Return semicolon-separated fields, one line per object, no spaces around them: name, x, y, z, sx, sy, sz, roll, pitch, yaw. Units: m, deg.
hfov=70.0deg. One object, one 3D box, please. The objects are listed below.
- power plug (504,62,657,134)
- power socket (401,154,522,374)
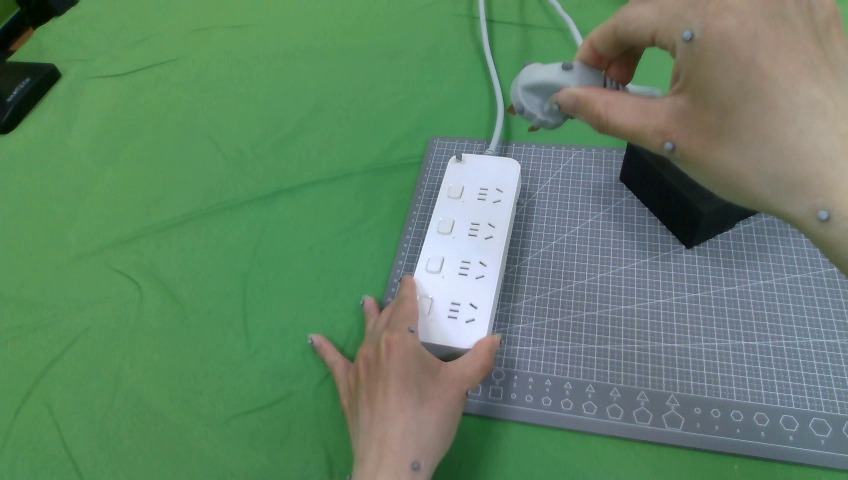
power plug;0.078;-0.066;0.325;0.073;0.053;0.035;34;65;-8
power socket;0.037;0.008;0.529;0.072;0.033;0.225;8;53;12
